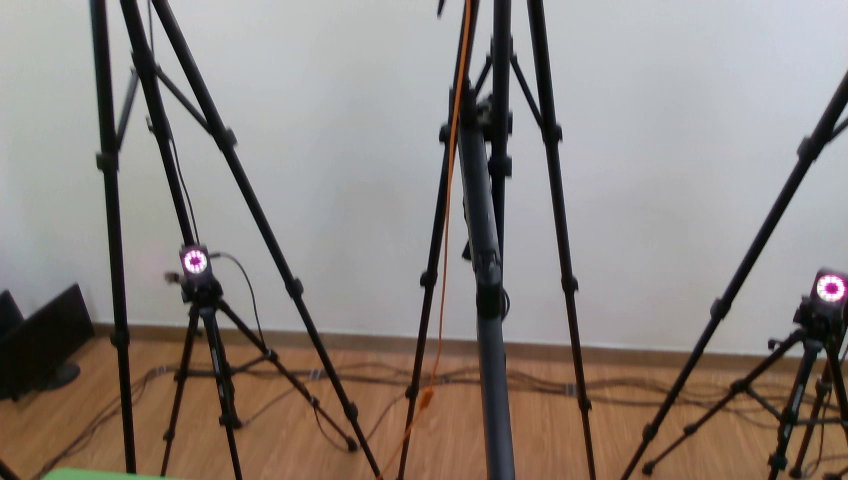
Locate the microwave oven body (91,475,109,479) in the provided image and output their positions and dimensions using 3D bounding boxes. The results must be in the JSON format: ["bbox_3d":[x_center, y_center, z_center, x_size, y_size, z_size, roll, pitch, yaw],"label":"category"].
[{"bbox_3d":[-0.446,0.547,0.663,0.323,0.262,0.441,18,35,31],"label":"microwave oven body"}]
